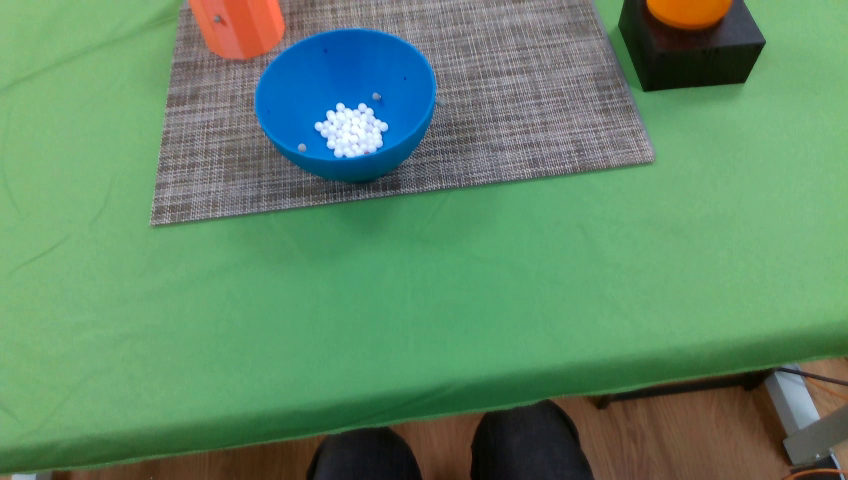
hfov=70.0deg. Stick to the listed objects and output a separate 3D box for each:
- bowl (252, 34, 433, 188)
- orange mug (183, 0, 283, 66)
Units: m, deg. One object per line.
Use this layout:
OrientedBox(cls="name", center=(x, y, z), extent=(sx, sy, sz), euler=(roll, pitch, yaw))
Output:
OrientedBox(cls="bowl", center=(-0.065, -0.099, 0.531), extent=(0.151, 0.077, 0.150), euler=(-1, 58, 2))
OrientedBox(cls="orange mug", center=(-0.196, -0.259, 0.623), extent=(0.083, 0.101, 0.125), euler=(3, 63, 5))
